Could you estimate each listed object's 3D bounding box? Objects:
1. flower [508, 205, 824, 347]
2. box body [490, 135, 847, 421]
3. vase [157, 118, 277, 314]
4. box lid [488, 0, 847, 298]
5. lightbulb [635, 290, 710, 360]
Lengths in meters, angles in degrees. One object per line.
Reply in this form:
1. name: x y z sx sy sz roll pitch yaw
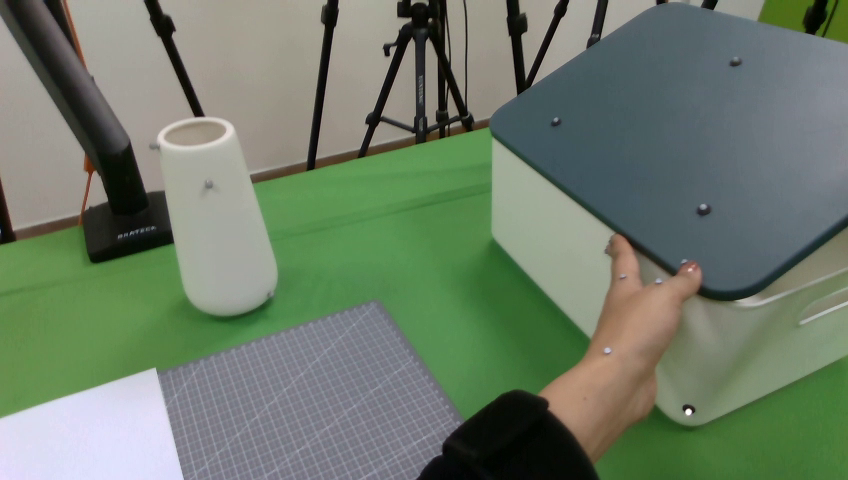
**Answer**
1. flower: 0.262 0.039 0.695 0.359 0.038 0.044 25 33 23
2. box body: 0.257 -0.011 0.646 0.255 0.162 0.360 -16 39 -21
3. vase: -0.213 -0.020 0.624 0.098 0.202 0.097 -1 35 1
4. box lid: 0.240 -0.116 0.557 0.263 0.015 0.367 -36 39 -2
5. lightbulb: 0.241 0.078 0.604 0.059 0.060 0.107 -3 19 -4
